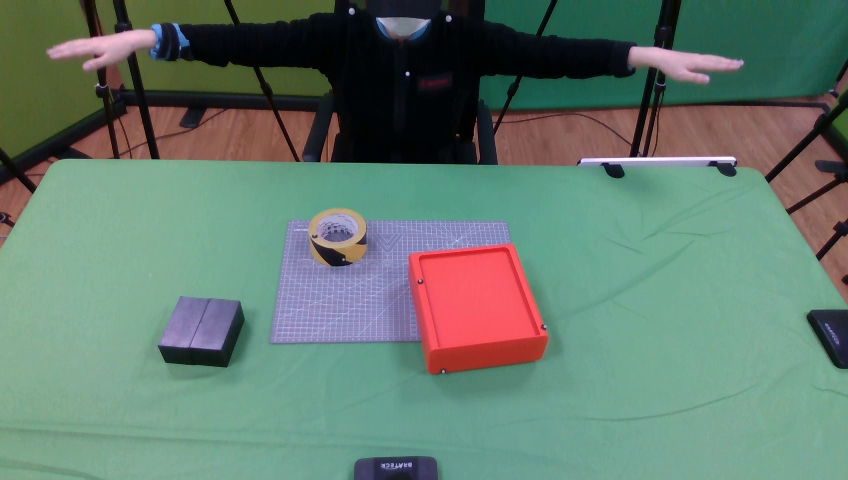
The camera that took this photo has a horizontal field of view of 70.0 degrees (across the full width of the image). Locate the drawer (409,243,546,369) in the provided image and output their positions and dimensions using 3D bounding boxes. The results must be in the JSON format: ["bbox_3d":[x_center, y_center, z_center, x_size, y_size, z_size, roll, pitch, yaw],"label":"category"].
[{"bbox_3d":[0.085,0.110,1.053,0.195,0.073,0.210,-5,47,-10],"label":"drawer"}]

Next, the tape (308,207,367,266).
[{"bbox_3d":[-0.167,-0.008,1.167,0.117,0.053,0.116,3,46,-3],"label":"tape"}]

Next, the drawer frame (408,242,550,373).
[{"bbox_3d":[0.087,0.111,1.051,0.202,0.083,0.212,-6,48,-10],"label":"drawer frame"}]
